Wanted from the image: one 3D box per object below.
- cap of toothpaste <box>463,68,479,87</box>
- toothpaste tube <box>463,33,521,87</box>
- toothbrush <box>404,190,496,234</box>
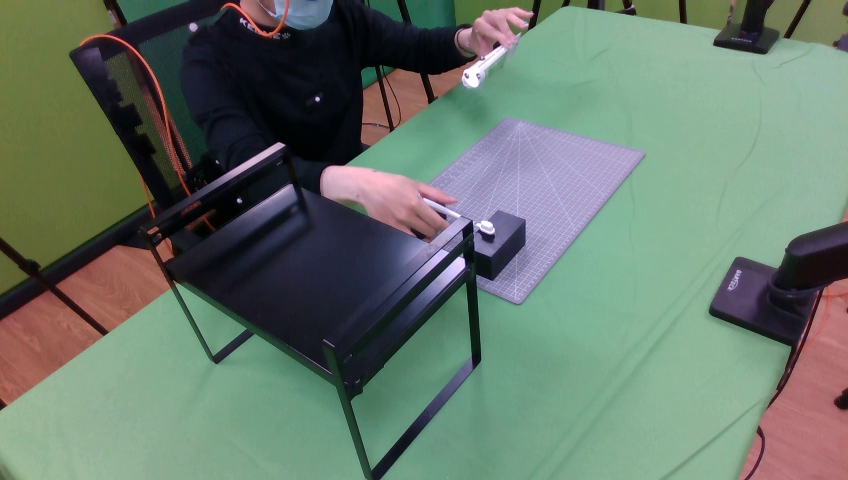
[{"bbox_3d":[0.079,-0.278,1.039,0.011,0.037,0.037,-27,23,43],"label":"cap of toothpaste"},{"bbox_3d":[0.125,-0.326,1.102,0.034,0.055,0.165,41,58,9],"label":"toothpaste tube"},{"bbox_3d":[0.036,-0.047,0.942,0.180,0.017,0.014,25,59,34],"label":"toothbrush"}]
